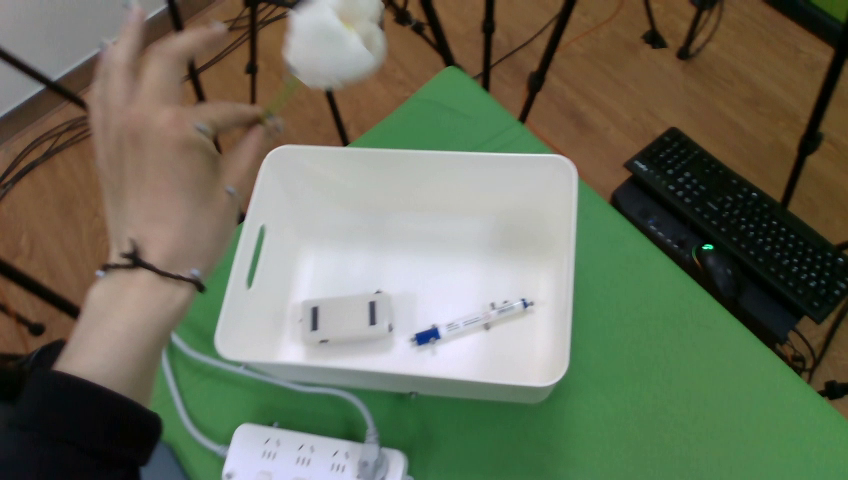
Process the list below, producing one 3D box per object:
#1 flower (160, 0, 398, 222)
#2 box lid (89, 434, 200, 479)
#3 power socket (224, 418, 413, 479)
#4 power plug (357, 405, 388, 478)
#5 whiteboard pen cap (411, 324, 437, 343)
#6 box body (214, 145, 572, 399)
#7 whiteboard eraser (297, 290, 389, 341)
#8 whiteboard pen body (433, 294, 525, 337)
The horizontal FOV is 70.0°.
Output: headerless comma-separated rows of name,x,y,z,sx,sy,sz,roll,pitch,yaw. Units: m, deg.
flower,-0.135,-0.064,0.439,0.038,0.361,0.044,-37,101,-41
box lid,-0.386,0.429,0.679,0.371,0.015,0.261,-39,67,-9
power socket,-0.126,0.259,0.705,0.226,0.033,0.072,7,67,11
power plug,-0.051,0.230,0.681,0.035,0.053,0.072,16,66,16
whiteboard pen cap,0.002,0.114,0.749,0.033,0.018,0.018,-19,65,1
box body,-0.020,0.042,0.711,0.363,0.162,0.252,3,67,9
whiteboard eraser,-0.101,0.094,0.757,0.112,0.042,0.055,-5,68,3
whiteboard pen body,0.058,0.098,0.748,0.141,0.017,0.017,-21,65,1
